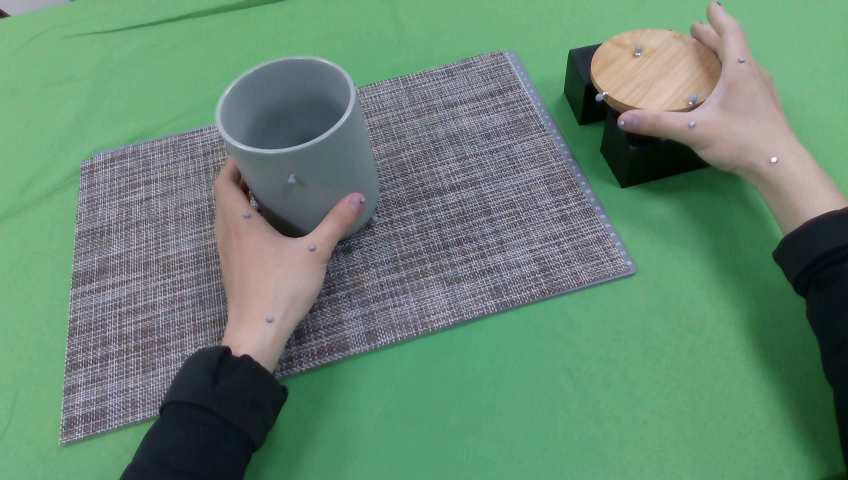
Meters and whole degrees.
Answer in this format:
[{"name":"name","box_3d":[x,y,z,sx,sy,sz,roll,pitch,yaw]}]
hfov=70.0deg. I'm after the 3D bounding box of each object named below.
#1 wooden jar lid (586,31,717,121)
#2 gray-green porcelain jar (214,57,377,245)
[{"name":"wooden jar lid","box_3d":[0.196,-0.142,0.526,0.108,0.021,0.107,-3,55,5]},{"name":"gray-green porcelain jar","box_3d":[-0.097,-0.065,0.496,0.106,0.128,0.105,-3,54,5]}]
